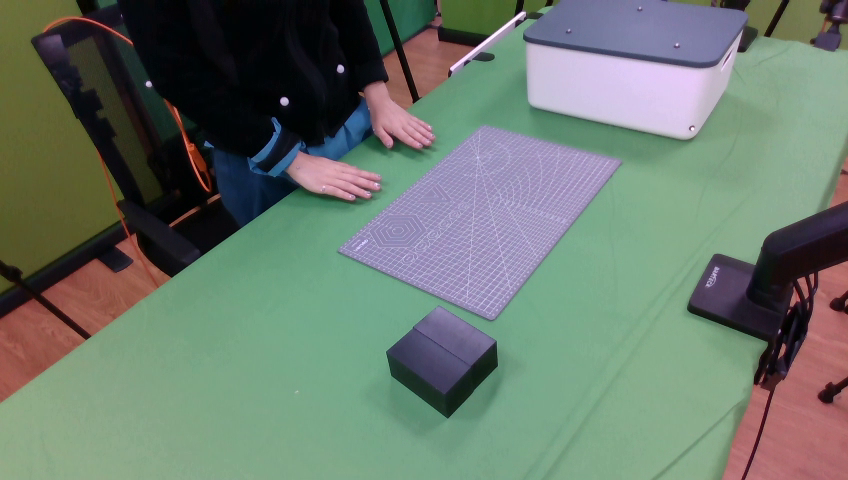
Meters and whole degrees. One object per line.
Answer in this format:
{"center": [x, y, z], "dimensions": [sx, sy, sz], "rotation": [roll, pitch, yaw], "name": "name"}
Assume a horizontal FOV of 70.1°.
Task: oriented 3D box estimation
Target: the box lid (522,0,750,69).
{"center": [0.405, -0.409, 1.163], "dimensions": [0.369, 0.015, 0.264], "rotation": [20, 47, 29], "name": "box lid"}

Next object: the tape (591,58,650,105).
{"center": [0.407, -0.331, 1.259], "dimensions": [0.117, 0.053, 0.116], "rotation": [-2, 40, 2], "name": "tape"}

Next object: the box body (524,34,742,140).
{"center": [0.412, -0.354, 1.212], "dimensions": [0.361, 0.161, 0.254], "rotation": [20, 48, 29], "name": "box body"}
